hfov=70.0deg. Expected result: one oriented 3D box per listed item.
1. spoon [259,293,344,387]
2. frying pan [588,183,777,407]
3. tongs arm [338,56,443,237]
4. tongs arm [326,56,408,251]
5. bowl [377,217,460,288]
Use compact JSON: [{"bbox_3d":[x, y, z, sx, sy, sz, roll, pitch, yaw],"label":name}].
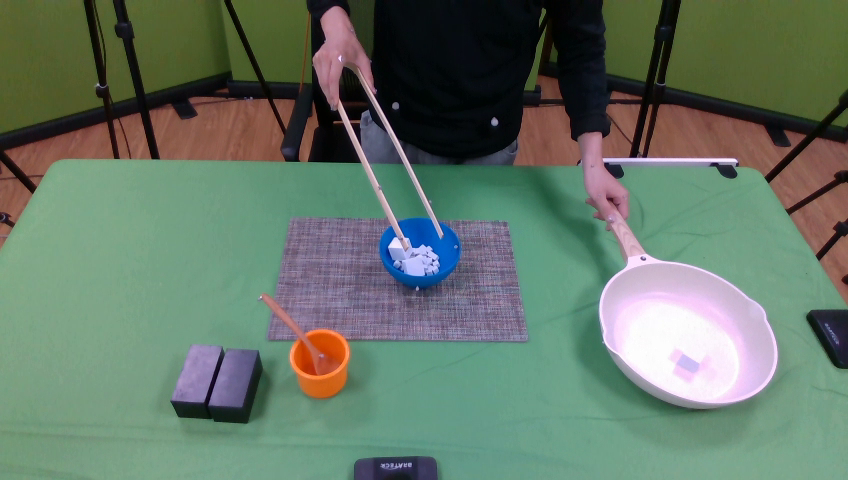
[{"bbox_3d":[-0.191,0.155,0.947,0.021,0.194,0.041,-13,27,50],"label":"spoon"},{"bbox_3d":[0.412,0.079,1.097,0.307,0.103,0.484,-9,56,-14],"label":"frying pan"},{"bbox_3d":[-0.060,-0.172,1.075,0.028,0.028,0.386,-25,76,-12],"label":"tongs arm"},{"bbox_3d":[-0.096,-0.158,1.064,0.051,0.026,0.383,-24,76,-15],"label":"tongs arm"},{"bbox_3d":[-0.011,0.036,1.118,0.151,0.077,0.150,2,46,-2],"label":"bowl"}]
